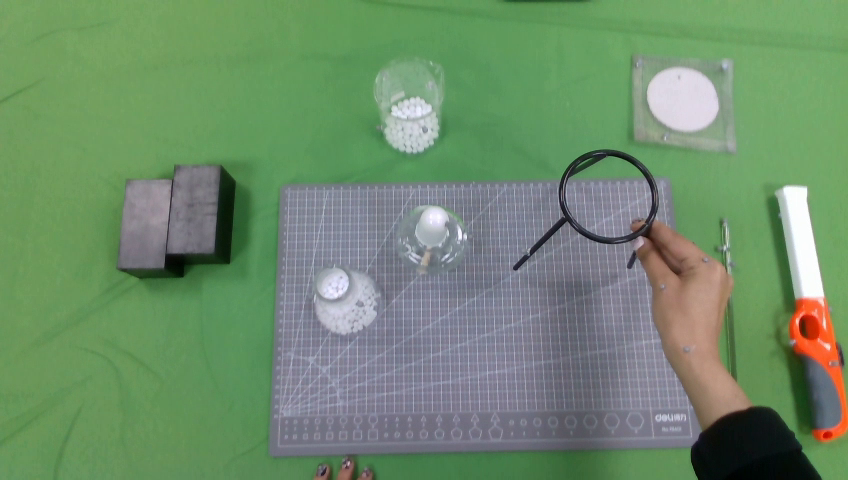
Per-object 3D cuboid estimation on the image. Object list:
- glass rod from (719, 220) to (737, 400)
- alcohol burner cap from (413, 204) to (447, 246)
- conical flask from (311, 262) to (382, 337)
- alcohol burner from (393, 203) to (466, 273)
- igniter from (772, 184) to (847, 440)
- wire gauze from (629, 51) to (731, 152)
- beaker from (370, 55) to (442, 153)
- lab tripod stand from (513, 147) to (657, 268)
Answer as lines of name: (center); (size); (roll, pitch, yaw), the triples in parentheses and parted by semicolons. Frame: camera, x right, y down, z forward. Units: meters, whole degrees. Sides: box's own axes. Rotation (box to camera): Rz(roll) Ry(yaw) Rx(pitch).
glass rod: (0.333, 0.074, 0.666); (0.008, 0.008, 0.198); (3, 76, 1)
alcohol burner cap: (0.007, -0.018, 0.594); (0.034, 0.048, 0.033); (3, 69, -7)
conical flask: (-0.084, 0.054, 0.609); (0.075, 0.122, 0.075); (0, 76, 0)
alcohol burner: (0.006, -0.006, 0.628); (0.078, 0.119, 0.077); (1, 75, -2)
igniter: (0.416, 0.072, 0.657); (0.057, 0.025, 0.275); (2, 76, -11)
wire gauze: (0.307, -0.169, 0.726); (0.125, 0.011, 0.121); (6, 77, 0)
beaker: (-0.016, -0.148, 0.674); (0.084, 0.100, 0.073); (-41, 79, -10)
lab tripod stand: (0.161, -0.022, 0.604); (0.148, 0.132, 0.147); (0, 77, -2)
